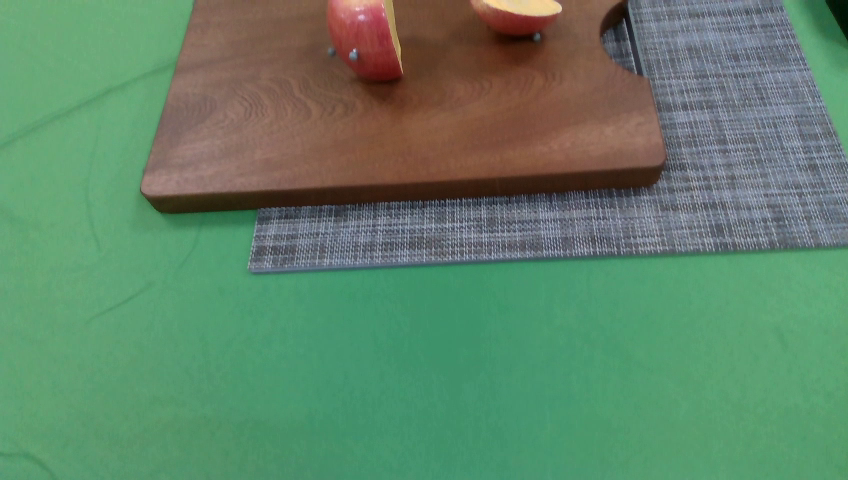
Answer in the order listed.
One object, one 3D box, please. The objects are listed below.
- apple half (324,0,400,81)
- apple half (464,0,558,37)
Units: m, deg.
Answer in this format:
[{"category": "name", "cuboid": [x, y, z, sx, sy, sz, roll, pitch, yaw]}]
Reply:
[{"category": "apple half", "cuboid": [-0.051, -0.167, 0.484, 0.053, 0.075, 0.080, -11, 63, 5]}, {"category": "apple half", "cuboid": [0.066, -0.187, 0.500, 0.081, 0.033, 0.080, 9, 43, -8]}]
